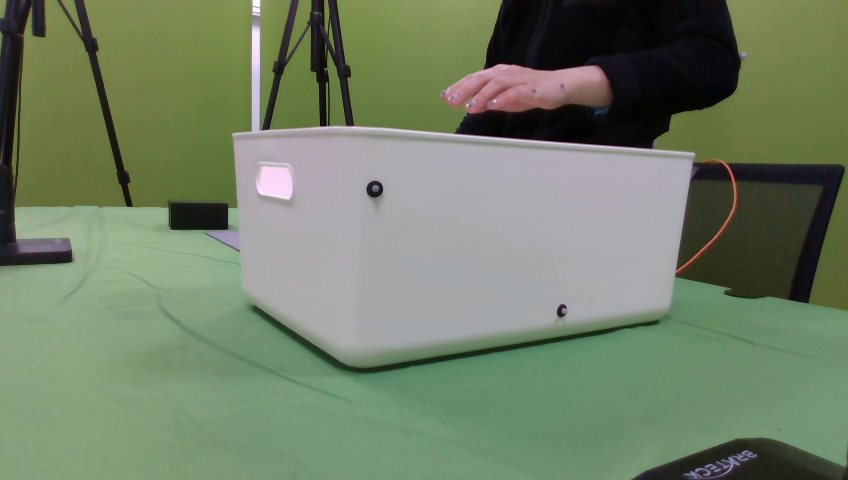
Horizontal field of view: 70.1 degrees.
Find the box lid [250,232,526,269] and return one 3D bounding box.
[{"bbox_3d":[-0.057,0.012,0.934,0.373,0.015,0.262,-2,8,-32],"label":"box lid"}]

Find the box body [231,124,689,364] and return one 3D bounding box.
[{"bbox_3d":[0.031,-0.013,0.563,0.366,0.160,0.253,-3,8,-33],"label":"box body"}]

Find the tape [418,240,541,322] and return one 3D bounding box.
[{"bbox_3d":[0.052,0.035,0.571,0.117,0.052,0.117,1,10,0],"label":"tape"}]
